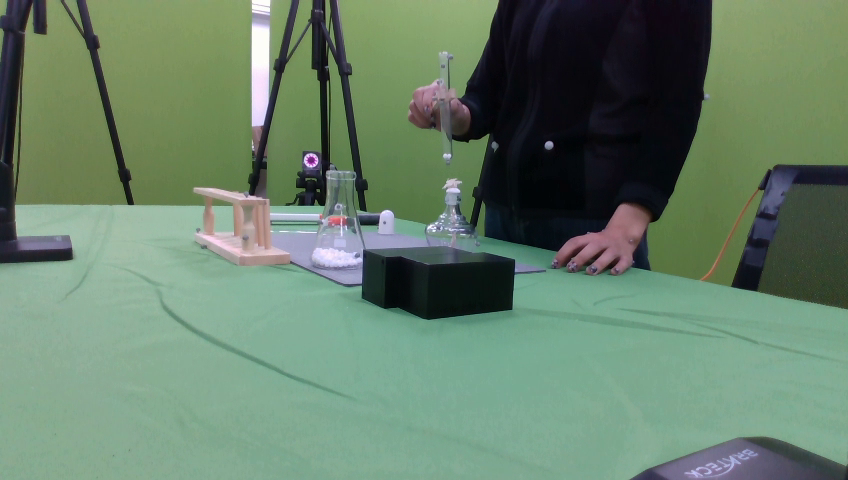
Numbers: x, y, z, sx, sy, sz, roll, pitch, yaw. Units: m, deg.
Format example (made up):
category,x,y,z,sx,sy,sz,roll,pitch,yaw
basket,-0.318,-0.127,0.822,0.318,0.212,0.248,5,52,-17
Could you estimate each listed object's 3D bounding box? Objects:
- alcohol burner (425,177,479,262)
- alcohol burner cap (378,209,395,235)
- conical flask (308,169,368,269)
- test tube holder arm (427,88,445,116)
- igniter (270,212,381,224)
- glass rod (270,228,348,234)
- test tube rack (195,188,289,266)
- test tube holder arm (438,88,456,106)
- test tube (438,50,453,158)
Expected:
category,x,y,z,sx,sy,sz,roll,pitch,yaw
alcohol burner,0.040,-0.029,0.853,0.078,0.119,0.078,2,10,0
alcohol burner cap,-0.070,-0.035,1.144,0.034,0.048,0.034,2,8,0
conical flask,-0.107,-0.028,0.762,0.075,0.122,0.075,2,7,0
test tube holder arm,0.017,-0.209,0.918,0.013,0.015,0.178,1,3,-7
igniter,-0.213,-0.048,1.279,0.278,0.025,0.057,-1,-2,-25
glass rod,-0.235,-0.016,1.105,0.201,0.008,0.008,2,6,-26
test tube rack,-0.266,-0.025,0.864,0.067,0.085,0.241,-2,8,-33
test tube holder arm,0.030,-0.206,0.875,0.010,0.015,0.087,0,4,-14
test tube,0.030,-0.191,0.852,0.017,0.150,0.017,-2,3,0
